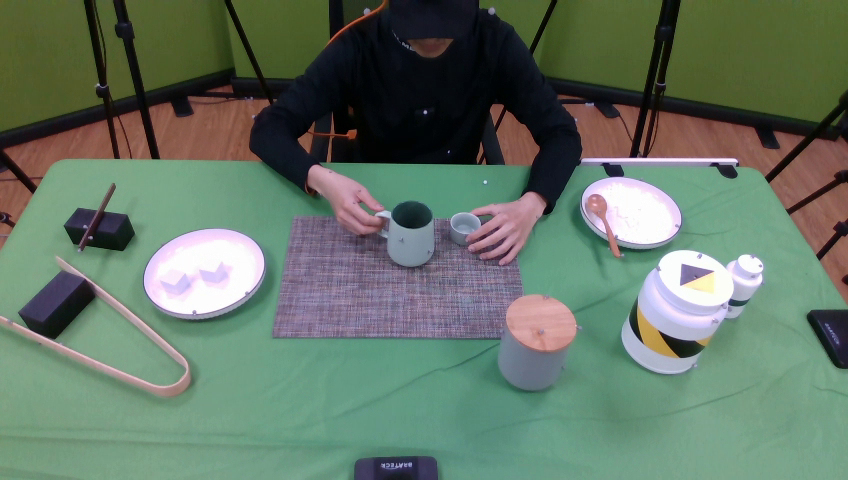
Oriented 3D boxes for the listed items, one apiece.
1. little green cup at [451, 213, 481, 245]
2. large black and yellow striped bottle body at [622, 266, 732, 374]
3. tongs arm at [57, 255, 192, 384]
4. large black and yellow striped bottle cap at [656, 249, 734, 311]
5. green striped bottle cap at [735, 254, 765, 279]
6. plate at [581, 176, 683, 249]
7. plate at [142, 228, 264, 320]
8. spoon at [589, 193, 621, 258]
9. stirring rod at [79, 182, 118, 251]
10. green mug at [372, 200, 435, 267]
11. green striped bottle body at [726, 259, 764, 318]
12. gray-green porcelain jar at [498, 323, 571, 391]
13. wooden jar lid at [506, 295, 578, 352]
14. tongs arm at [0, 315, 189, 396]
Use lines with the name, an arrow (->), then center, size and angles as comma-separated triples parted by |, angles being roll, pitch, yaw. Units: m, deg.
little green cup -> 0.082, -0.020, 1.205 | 0.061, 0.039, 0.061 | 2, 45, -2
large black and yellow striped bottle body -> 0.415, 0.119, 0.997 | 0.131, 0.185, 0.130 | 2, 46, -2
tongs arm -> -0.517, 0.126, 1.033 | 0.386, 0.028, 0.028 | 30, 43, 23
large black and yellow striped bottle cap -> 0.419, 0.061, 0.938 | 0.115, 0.019, 0.114 | 2, 47, -2
green striped bottle cap -> 0.566, 0.046, 1.051 | 0.044, 0.020, 0.044 | 0, 45, 0
plate -> 0.430, -0.054, 1.267 | 0.209, 0.038, 0.208 | 2, 46, -2
plate -> -0.394, 0.064, 1.095 | 0.208, 0.039, 0.206 | 2, 46, -2
spoon -> 0.368, -0.032, 1.220 | 0.041, 0.022, 0.192 | 1, 38, 0
stirring rod -> -0.605, -0.046, 1.130 | 0.006, 0.014, 0.175 | 0, 47, 0
green mug -> -0.040, -0.016, 1.146 | 0.125, 0.105, 0.092 | 17, 48, 13
green striped bottle body -> 0.563, 0.081, 1.089 | 0.063, 0.120, 0.063 | 2, 46, -2
gray-green porcelain jar -> 0.176, 0.172, 0.971 | 0.106, 0.127, 0.105 | 2, 46, -2
wooden jar lid -> 0.179, 0.130, 0.926 | 0.108, 0.021, 0.107 | 2, 43, -2
tongs arm -> -0.555, 0.170, 0.981 | 0.384, 0.026, 0.050 | 21, 43, 14
